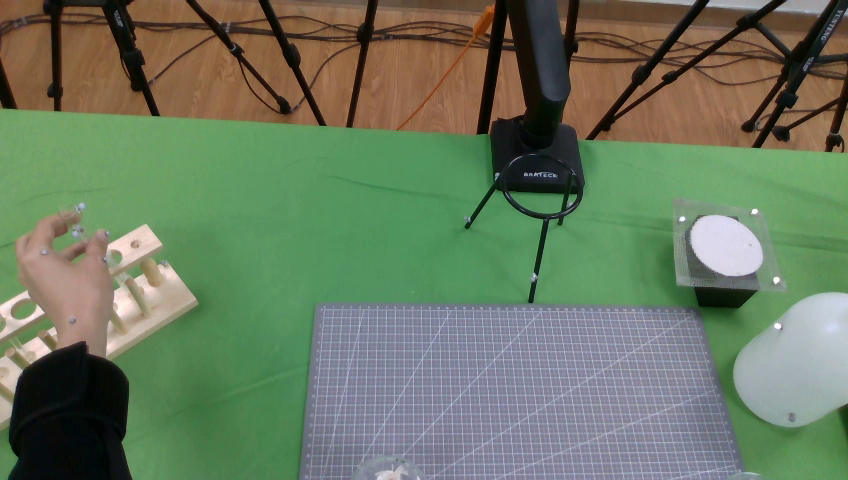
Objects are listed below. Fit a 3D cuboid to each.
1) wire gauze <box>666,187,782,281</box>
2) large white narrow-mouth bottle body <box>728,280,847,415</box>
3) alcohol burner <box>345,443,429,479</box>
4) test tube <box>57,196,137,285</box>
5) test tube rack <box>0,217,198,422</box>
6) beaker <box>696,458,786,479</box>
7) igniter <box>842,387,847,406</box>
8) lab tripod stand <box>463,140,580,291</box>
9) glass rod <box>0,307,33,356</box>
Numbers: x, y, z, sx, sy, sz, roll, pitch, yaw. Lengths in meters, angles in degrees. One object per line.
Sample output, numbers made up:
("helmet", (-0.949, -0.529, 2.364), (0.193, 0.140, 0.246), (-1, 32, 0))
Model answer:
("wire gauze", (0.349, -0.007, 0.714), (0.121, 0.011, 0.124), (8, 57, 0))
("large white narrow-mouth bottle body", (0.391, 0.098, 0.599), (0.102, 0.196, 0.101), (2, 57, -3))
("alcohol burner", (-0.032, 0.214, 0.535), (0.078, 0.120, 0.077), (3, 56, -5))
("test tube", (-0.320, 0.005, 0.601), (0.017, 0.151, 0.017), (1, 59, -1))
("test tube rack", (-0.363, 0.083, 0.609), (0.242, 0.086, 0.066), (-36, 67, -24))
("beaker", (0.272, 0.247, 0.548), (0.084, 0.101, 0.073), (6, 57, 0))
("igniter", (0.468, 0.244, 0.613), (0.057, 0.025, 0.274), (11, 57, -10))
("lab tripod stand", (0.121, -0.034, 0.697), (0.148, 0.132, 0.147), (3, 59, -5))
("glass rod", (-0.392, 0.054, 0.547), (0.008, 0.201, 0.008), (5, 49, -5))
